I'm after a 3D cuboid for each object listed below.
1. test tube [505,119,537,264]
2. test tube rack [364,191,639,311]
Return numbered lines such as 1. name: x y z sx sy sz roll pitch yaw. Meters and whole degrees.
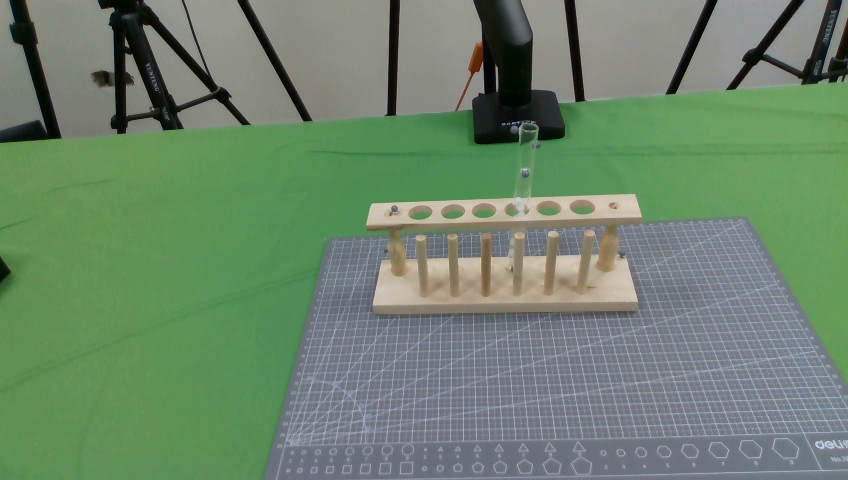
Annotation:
1. test tube: 0.085 -0.037 0.540 0.017 0.151 0.017 0 38 1
2. test tube rack: 0.070 0.012 0.561 0.242 0.086 0.066 -2 40 7
